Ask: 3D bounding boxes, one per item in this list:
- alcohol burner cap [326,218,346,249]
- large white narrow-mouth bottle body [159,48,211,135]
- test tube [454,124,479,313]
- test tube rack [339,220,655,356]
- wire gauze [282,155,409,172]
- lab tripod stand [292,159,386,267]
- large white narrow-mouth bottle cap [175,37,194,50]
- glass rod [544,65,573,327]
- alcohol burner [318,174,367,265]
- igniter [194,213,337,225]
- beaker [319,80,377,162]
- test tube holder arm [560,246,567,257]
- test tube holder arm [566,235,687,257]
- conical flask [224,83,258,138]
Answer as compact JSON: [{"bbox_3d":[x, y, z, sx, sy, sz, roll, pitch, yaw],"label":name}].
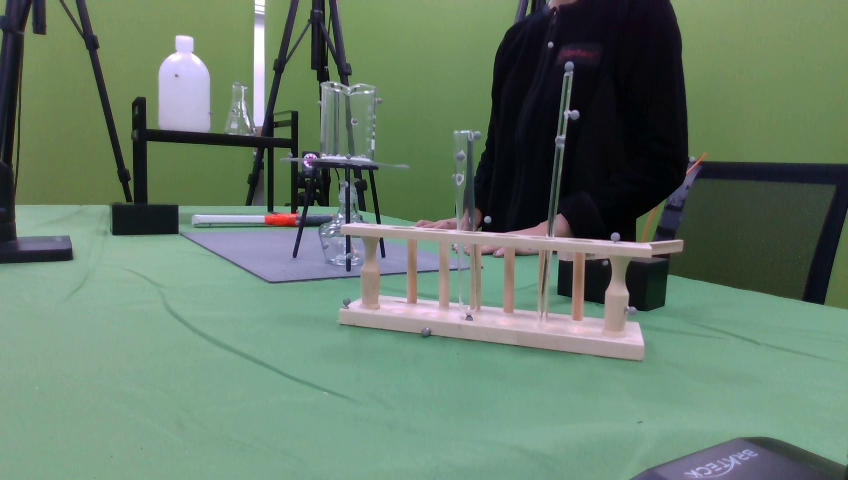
[{"bbox_3d":[-0.133,-0.010,0.927,0.034,0.048,0.034,6,7,0],"label":"alcohol burner cap"},{"bbox_3d":[-0.503,-0.322,1.275,0.102,0.194,0.102,2,7,0],"label":"large white narrow-mouth bottle body"},{"bbox_3d":[0.034,-0.015,0.477,0.017,0.150,0.017,-2,9,1],"label":"test tube"},{"bbox_3d":[0.056,0.032,0.495,0.242,0.085,0.067,4,7,15],"label":"test tube rack"},{"bbox_3d":[-0.104,-0.103,0.785,0.126,0.011,0.121,1,8,-39],"label":"wire gauze"},{"bbox_3d":[-0.105,-0.039,0.798,0.148,0.131,0.148,2,5,0],"label":"lab tripod stand"},{"bbox_3d":[-0.501,-0.410,1.264,0.038,0.024,0.037,2,7,0],"label":"large white narrow-mouth bottle cap"},{"bbox_3d":[0.101,-0.028,0.453,0.008,0.199,0.008,2,13,0],"label":"glass rod"},{"bbox_3d":[-0.100,-0.028,0.790,0.078,0.119,0.078,0,6,0],"label":"alcohol burner"},{"bbox_3d":[-0.306,-0.042,1.196,0.278,0.025,0.057,-2,-2,-31],"label":"igniter"},{"bbox_3d":[-0.098,-0.150,0.777,0.074,0.100,0.084,1,7,-8],"label":"beaker"},{"bbox_3d":[0.173,0.007,0.612,0.088,0.015,0.010,-3,9,-30],"label":"test tube holder arm"},{"bbox_3d":[0.215,0.006,0.630,0.179,0.015,0.013,-3,9,-31],"label":"test tube holder arm"},{"bbox_3d":[-0.422,-0.299,1.395,0.075,0.122,0.075,2,7,0],"label":"conical flask"}]
